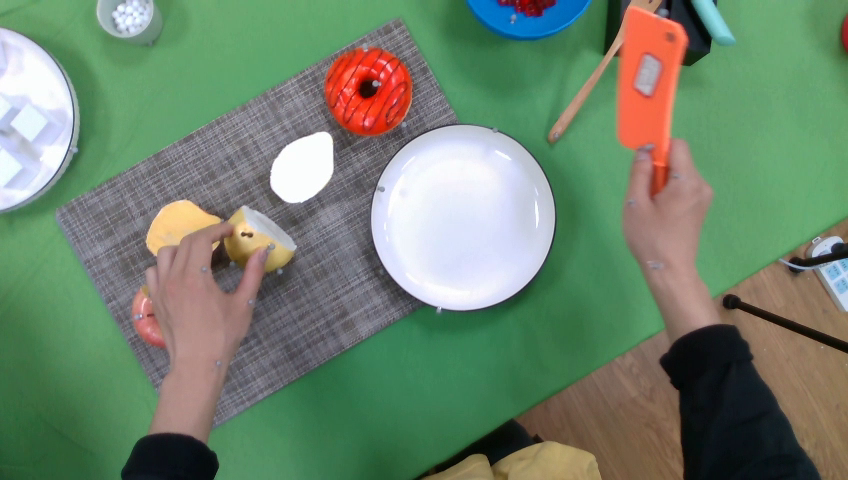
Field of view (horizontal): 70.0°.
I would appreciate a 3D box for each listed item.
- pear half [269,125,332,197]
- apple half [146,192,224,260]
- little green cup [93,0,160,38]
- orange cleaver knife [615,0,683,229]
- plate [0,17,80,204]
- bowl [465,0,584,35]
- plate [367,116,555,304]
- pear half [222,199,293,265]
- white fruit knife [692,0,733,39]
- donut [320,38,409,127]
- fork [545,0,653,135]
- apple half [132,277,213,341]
[{"bbox_3d":[-0.132,-0.086,0.677,0.070,0.031,0.088,35,83,10],"label":"pear half"},{"bbox_3d":[-0.263,-0.009,0.669,0.081,0.033,0.080,4,66,-9],"label":"apple half"},{"bbox_3d":[-0.327,-0.256,0.672,0.061,0.038,0.061,0,90,-1],"label":"little green cup"},{"bbox_3d":[0.205,-0.113,0.569,0.012,0.076,0.213,-17,119,-18],"label":"orange cleaver knife"},{"bbox_3d":[-0.481,-0.140,0.668,0.208,0.039,0.207,0,90,-2],"label":"plate"},{"bbox_3d":[0.105,-0.292,0.666,0.151,0.077,0.151,0,91,-2],"label":"bowl"},{"bbox_3d":[0.041,-0.033,0.680,0.209,0.038,0.209,0,90,-2],"label":"plate"},{"bbox_3d":[-0.184,-0.003,0.637,0.076,0.110,0.056,36,90,3],"label":"pear half"},{"bbox_3d":[0.276,-0.308,0.653,0.027,0.016,0.207,-28,89,-31],"label":"white fruit knife"},{"bbox_3d":[-0.065,-0.174,0.674,0.099,0.048,0.099,0,92,1],"label":"donut"},{"bbox_3d":[0.195,-0.204,0.664,0.028,0.018,0.208,29,109,-9],"label":"fork"},{"bbox_3d":[-0.274,0.079,0.653,0.081,0.074,0.053,25,93,-5],"label":"apple half"}]
